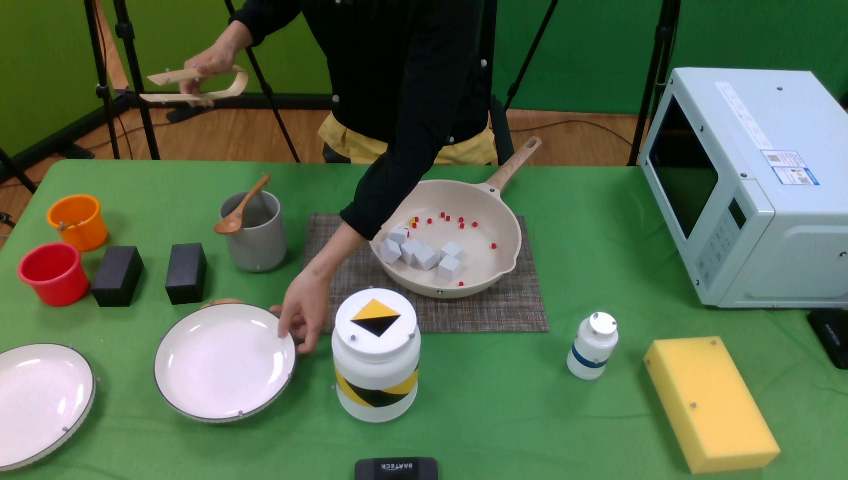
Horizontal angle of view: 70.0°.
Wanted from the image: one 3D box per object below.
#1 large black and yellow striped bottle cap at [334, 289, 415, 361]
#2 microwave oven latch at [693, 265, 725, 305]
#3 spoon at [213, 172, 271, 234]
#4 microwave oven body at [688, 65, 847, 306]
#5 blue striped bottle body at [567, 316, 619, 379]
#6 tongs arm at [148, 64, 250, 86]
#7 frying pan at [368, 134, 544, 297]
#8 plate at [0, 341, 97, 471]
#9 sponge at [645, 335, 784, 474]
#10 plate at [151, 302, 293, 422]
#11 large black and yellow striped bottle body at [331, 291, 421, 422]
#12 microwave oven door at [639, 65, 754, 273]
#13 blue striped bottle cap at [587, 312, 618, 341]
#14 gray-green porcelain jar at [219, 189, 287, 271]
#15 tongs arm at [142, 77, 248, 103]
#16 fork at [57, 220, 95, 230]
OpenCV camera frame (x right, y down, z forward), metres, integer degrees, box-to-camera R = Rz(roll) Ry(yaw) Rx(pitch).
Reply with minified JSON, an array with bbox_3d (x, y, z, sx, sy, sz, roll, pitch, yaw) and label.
[{"bbox_3d":[-0.069,0.117,0.850,0.115,0.019,0.114,2,45,-2],"label":"large black and yellow striped bottle cap"},{"bbox_3d":[0.523,0.081,1.116,0.030,0.029,0.078,2,46,-1],"label":"microwave oven latch"},{"bbox_3d":[-0.312,-0.069,1.068,0.041,0.022,0.193,8,43,12],"label":"spoon"},{"bbox_3d":[0.669,-0.111,1.176,0.326,0.261,0.439,0,46,-3],"label":"microwave oven body"},{"bbox_3d":[0.276,0.168,0.984,0.063,0.121,0.062,2,46,-2],"label":"blue striped bottle body"},{"bbox_3d":[-0.405,-0.298,1.127,0.026,0.051,0.383,27,22,-3],"label":"tongs arm"},{"bbox_3d":[0.104,-0.069,1.205,0.305,0.103,0.487,32,61,23],"label":"frying pan"},{"bbox_3d":[-0.599,0.247,0.904,0.209,0.038,0.208,2,47,-2],"label":"plate"},{"bbox_3d":[0.449,0.253,0.956,0.118,0.061,0.205,-4,46,-7],"label":"sponge"},{"bbox_3d":[-0.310,0.191,0.945,0.208,0.039,0.206,6,47,-7],"label":"plate"},{"bbox_3d":[-0.071,0.175,0.911,0.131,0.185,0.130,2,47,-2],"label":"large black and yellow striped bottle body"},{"bbox_3d":[0.522,-0.147,1.193,0.039,0.245,0.353,0,47,-3],"label":"microwave oven door"},{"bbox_3d":[0.279,0.134,0.947,0.044,0.021,0.044,2,45,-2],"label":"blue striped bottle cap"},{"bbox_3d":[-0.309,-0.014,1.114,0.106,0.127,0.105,2,46,-1],"label":"gray-green porcelain jar"},{"bbox_3d":[-0.416,-0.279,1.134,0.028,0.028,0.386,24,18,-2],"label":"tongs arm"},{"bbox_3d":[-0.624,-0.027,1.086,0.028,0.207,0.018,-2,91,-17],"label":"fork"}]
